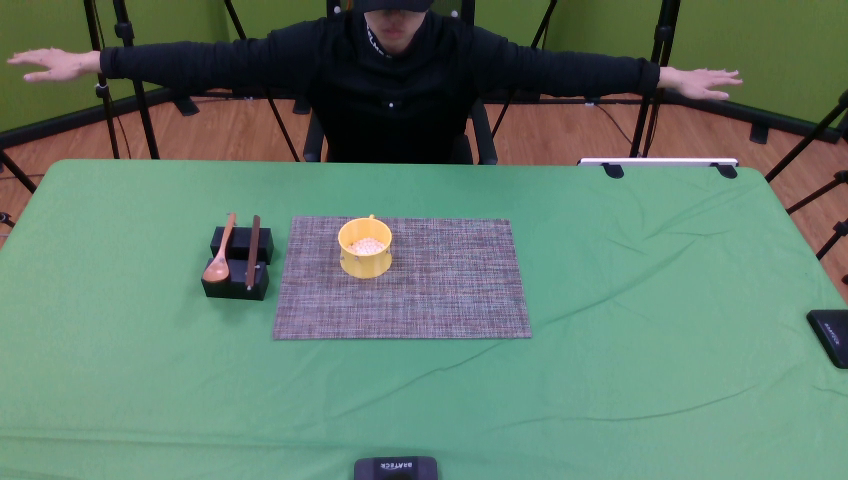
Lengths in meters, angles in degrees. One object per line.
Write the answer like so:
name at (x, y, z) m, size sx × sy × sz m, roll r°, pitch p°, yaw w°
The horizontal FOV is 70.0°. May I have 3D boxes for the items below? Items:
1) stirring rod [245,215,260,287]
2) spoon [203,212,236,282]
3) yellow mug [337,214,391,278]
stirring rod at (-0.310, 0.016, 1.096) m, size 0.014 × 0.006 × 0.175 m, roll 27°, pitch 36°, yaw -32°
spoon at (-0.361, 0.009, 1.097) m, size 0.041 × 0.022 × 0.192 m, roll 0°, pitch 44°, yaw -3°
yellow mug at (-0.110, 0.003, 1.152) m, size 0.100 × 0.064 × 0.130 m, roll 7°, pitch 45°, yaw 2°
